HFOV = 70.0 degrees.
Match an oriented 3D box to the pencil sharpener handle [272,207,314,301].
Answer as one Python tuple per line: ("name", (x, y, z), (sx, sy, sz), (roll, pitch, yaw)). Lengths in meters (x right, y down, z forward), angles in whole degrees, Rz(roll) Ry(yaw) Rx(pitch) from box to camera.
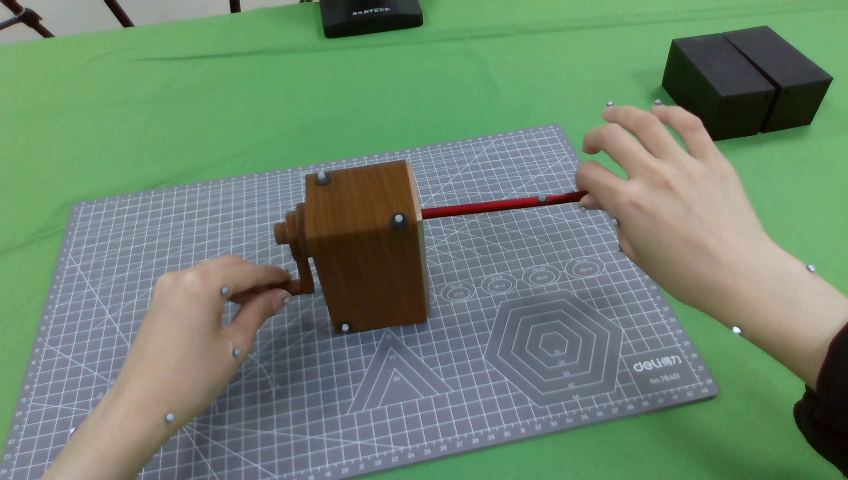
("pencil sharpener handle", (-0.090, 0.012, 0.395), (0.031, 0.068, 0.035), (-9, 34, -3))

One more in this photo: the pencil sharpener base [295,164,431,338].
("pencil sharpener base", (-0.039, 0.011, 0.410), (0.077, 0.108, 0.060), (-9, 47, -3))

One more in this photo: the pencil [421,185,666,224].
("pencil", (0.067, -0.022, 0.401), (0.194, 0.012, 0.012), (-6, 46, -6))
